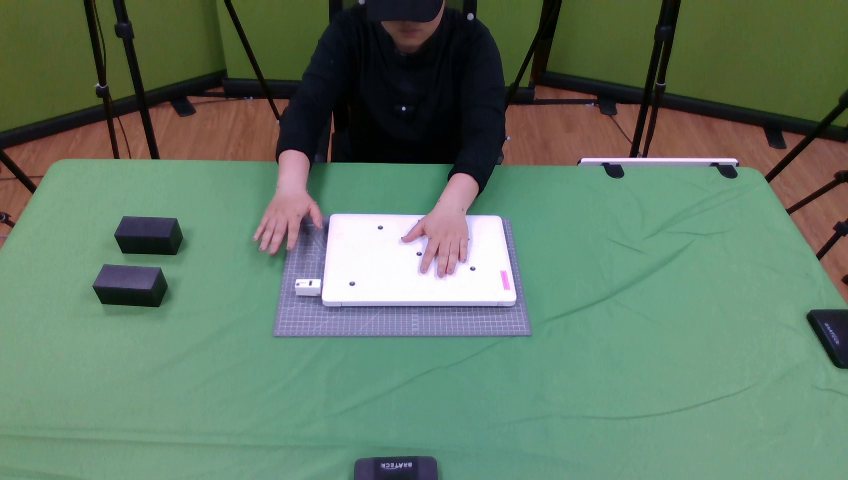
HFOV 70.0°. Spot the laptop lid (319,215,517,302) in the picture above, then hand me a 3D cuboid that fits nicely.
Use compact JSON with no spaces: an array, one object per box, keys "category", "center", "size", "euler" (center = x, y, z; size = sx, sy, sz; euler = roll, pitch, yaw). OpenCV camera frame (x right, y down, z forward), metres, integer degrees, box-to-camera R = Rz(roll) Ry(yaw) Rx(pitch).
[{"category":"laptop lid","center":[-0.013,0.030,1.155],"size":[0.357,0.013,0.240],"euler":[2,43,-3]}]

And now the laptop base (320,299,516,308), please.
[{"category":"laptop base","center":[-0.013,0.039,1.160],"size":[0.355,0.023,0.234],"euler":[0,42,-4]}]

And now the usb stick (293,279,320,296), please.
[{"category":"usb stick","center":[-0.202,0.085,1.083],"size":[0.059,0.027,0.021],"euler":[4,46,-5]}]
